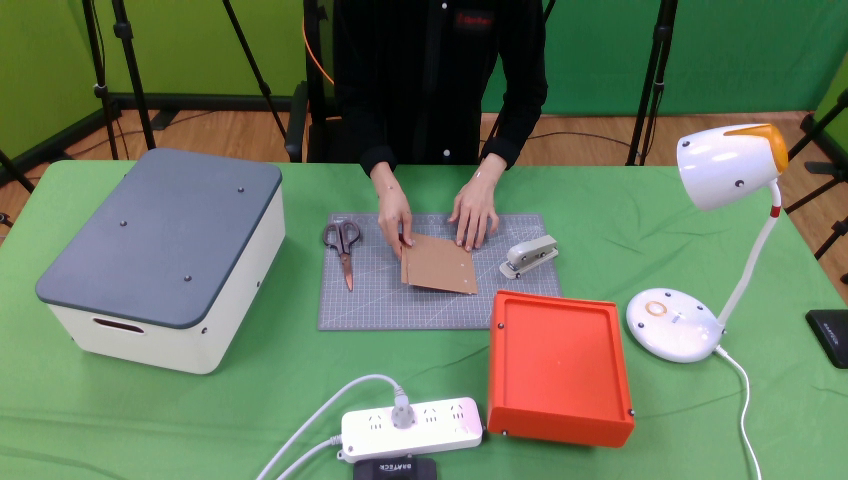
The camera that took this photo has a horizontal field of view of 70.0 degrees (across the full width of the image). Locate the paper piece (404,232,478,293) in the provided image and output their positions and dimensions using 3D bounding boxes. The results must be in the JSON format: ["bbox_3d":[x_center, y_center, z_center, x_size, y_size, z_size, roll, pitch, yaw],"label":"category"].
[{"bbox_3d":[0.031,0.041,1.145,0.136,0.009,0.137,13,41,-19],"label":"paper piece"}]

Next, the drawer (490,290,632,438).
[{"bbox_3d":[0.203,0.185,0.934,0.194,0.073,0.210,7,47,1],"label":"drawer"}]

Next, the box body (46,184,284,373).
[{"bbox_3d":[-0.414,0.029,1.040,0.254,0.161,0.362,10,46,5],"label":"box body"}]

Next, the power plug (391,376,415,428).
[{"bbox_3d":[-0.030,0.249,0.917,0.035,0.053,0.072,3,46,0],"label":"power plug"}]

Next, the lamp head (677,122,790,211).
[{"bbox_3d":[0.423,-0.104,0.819,0.122,0.113,0.112,-13,33,40],"label":"lamp head"}]

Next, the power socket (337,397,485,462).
[{"bbox_3d":[-0.018,0.285,0.915,0.227,0.033,0.071,-4,46,-8],"label":"power socket"}]

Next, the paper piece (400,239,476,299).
[{"bbox_3d":[0.029,0.048,1.138,0.135,0.004,0.135,12,44,-1],"label":"paper piece"}]

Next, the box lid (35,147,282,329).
[{"bbox_3d":[-0.411,-0.023,0.987,0.263,0.015,0.369,10,47,5],"label":"box lid"}]

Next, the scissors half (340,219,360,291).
[{"bbox_3d":[-0.144,0.026,1.162,0.040,0.013,0.174,-3,51,-2],"label":"scissors half"}]

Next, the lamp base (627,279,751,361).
[{"bbox_3d":[0.460,0.100,1.027,0.178,0.181,0.160,27,51,17],"label":"lamp base"}]

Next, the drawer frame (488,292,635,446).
[{"bbox_3d":[0.204,0.191,0.931,0.202,0.083,0.212,7,45,2],"label":"drawer frame"}]

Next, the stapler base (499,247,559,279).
[{"bbox_3d":[0.206,0.033,1.178,0.130,0.024,0.041,-24,55,-27],"label":"stapler base"}]

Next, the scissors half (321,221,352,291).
[{"bbox_3d":[-0.163,0.029,1.158,0.040,0.013,0.174,-14,52,-18],"label":"scissors half"}]

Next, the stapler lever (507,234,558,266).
[{"bbox_3d":[0.209,0.015,1.161,0.118,0.040,0.026,-25,55,-27],"label":"stapler lever"}]
